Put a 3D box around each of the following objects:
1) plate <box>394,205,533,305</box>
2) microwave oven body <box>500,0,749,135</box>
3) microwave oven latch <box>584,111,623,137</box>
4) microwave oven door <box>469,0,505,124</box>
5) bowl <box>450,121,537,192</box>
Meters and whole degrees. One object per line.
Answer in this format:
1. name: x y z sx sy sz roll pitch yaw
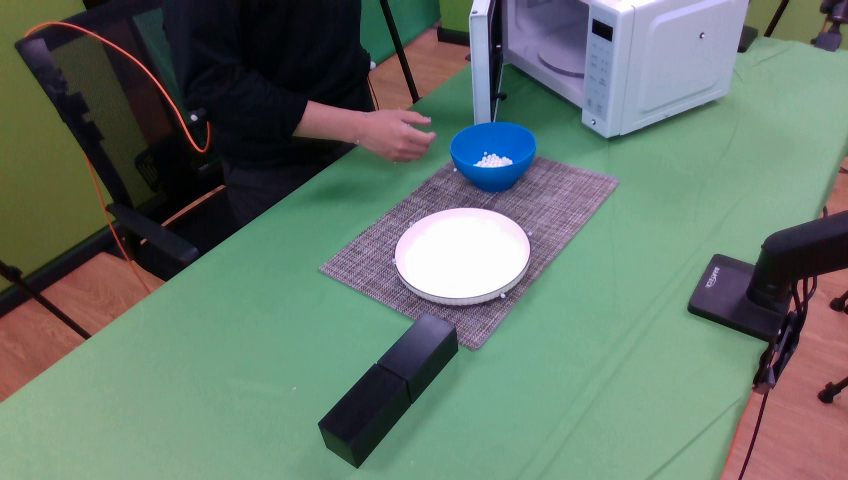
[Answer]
1. plate: 0.059 0.025 0.915 0.207 0.039 0.206 -4 41 4
2. microwave oven body: 0.382 -0.444 1.246 0.327 0.261 0.437 -22 42 -16
3. microwave oven latch: 0.337 -0.222 1.142 0.030 0.029 0.078 -21 42 -14
4. microwave oven door: 0.133 -0.403 1.225 0.039 0.245 0.354 1 41 11
5. bowl: 0.123 -0.138 1.064 0.151 0.077 0.150 -4 40 4
